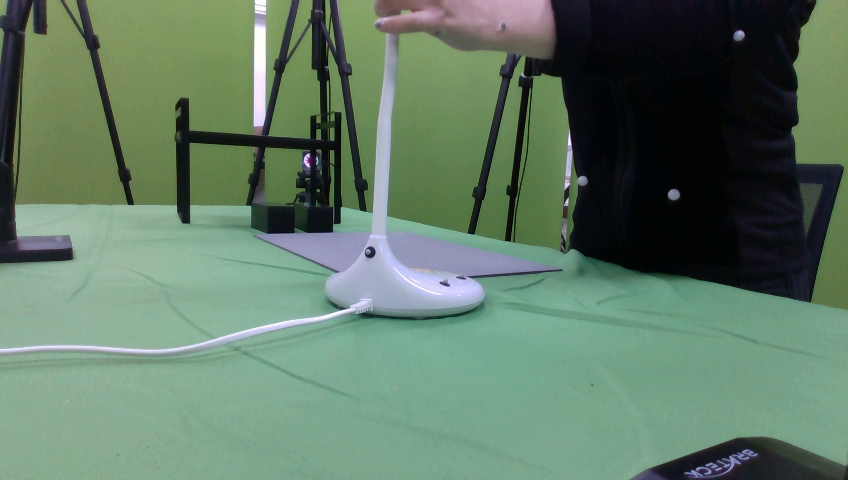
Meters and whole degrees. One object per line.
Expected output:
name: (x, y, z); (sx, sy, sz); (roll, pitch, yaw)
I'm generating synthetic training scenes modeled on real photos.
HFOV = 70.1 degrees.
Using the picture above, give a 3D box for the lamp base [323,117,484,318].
lamp base: (-0.021, -0.025, 0.582); (0.160, 0.180, 0.179); (5, 10, 16)
